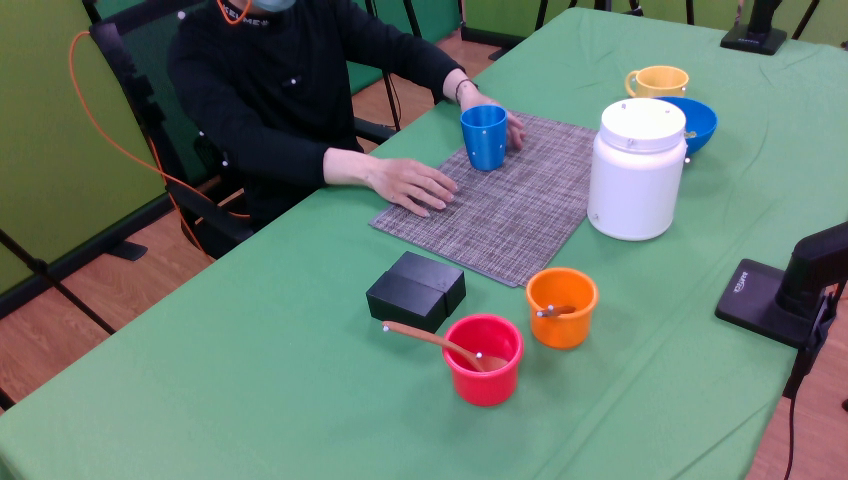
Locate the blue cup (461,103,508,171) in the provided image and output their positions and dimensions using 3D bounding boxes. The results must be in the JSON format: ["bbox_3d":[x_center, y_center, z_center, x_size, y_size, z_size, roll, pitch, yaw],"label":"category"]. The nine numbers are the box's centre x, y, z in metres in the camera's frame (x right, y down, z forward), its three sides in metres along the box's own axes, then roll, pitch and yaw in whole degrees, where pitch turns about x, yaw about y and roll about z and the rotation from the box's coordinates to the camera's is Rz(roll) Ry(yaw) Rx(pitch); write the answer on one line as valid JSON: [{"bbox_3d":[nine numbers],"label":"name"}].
[{"bbox_3d":[0.114,-0.185,1.109,0.092,0.100,0.092,-5,39,4],"label":"blue cup"}]

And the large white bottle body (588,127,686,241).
[{"bbox_3d":[0.324,-0.105,0.926,0.130,0.185,0.130,-4,41,4],"label":"large white bottle body"}]

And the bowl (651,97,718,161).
[{"bbox_3d":[0.439,-0.187,1.087,0.151,0.077,0.150,-4,41,4],"label":"bowl"}]

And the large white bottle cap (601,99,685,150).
[{"bbox_3d":[0.315,-0.168,0.870,0.115,0.018,0.114,-4,41,4],"label":"large white bottle cap"}]

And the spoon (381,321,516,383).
[{"bbox_3d":[0.033,0.131,0.726,0.195,0.021,0.041,29,30,-26],"label":"spoon"}]

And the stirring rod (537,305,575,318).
[{"bbox_3d":[0.168,0.088,0.759,0.014,0.006,0.177,8,1,24],"label":"stirring rod"}]

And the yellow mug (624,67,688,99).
[{"bbox_3d":[0.464,-0.306,1.230,0.100,0.064,0.129,-34,46,-27],"label":"yellow mug"}]
